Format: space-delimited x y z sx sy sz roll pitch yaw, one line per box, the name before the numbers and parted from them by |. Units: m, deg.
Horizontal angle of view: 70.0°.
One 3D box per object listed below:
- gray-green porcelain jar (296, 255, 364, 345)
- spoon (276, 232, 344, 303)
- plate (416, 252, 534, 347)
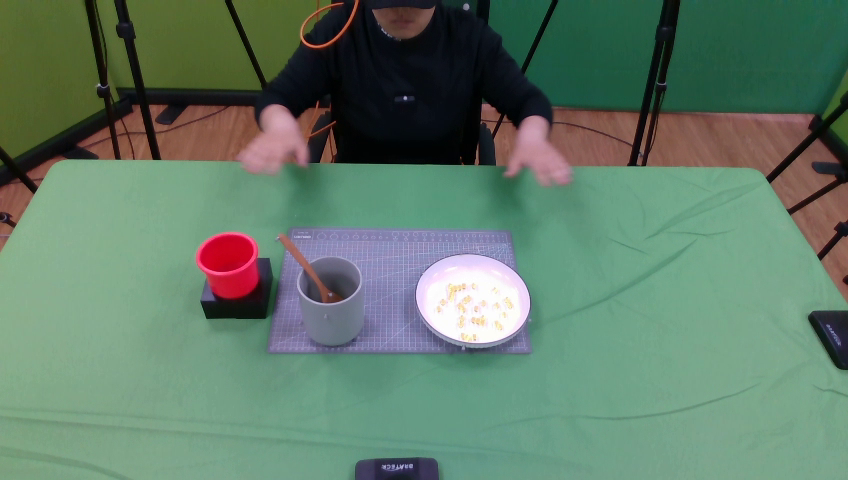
gray-green porcelain jar | -0.153 0.105 1.008 0.106 0.127 0.105 2 46 -2
spoon | -0.180 0.061 0.989 0.021 0.195 0.041 12 49 49
plate | 0.090 0.109 1.084 0.208 0.039 0.206 2 46 -2
